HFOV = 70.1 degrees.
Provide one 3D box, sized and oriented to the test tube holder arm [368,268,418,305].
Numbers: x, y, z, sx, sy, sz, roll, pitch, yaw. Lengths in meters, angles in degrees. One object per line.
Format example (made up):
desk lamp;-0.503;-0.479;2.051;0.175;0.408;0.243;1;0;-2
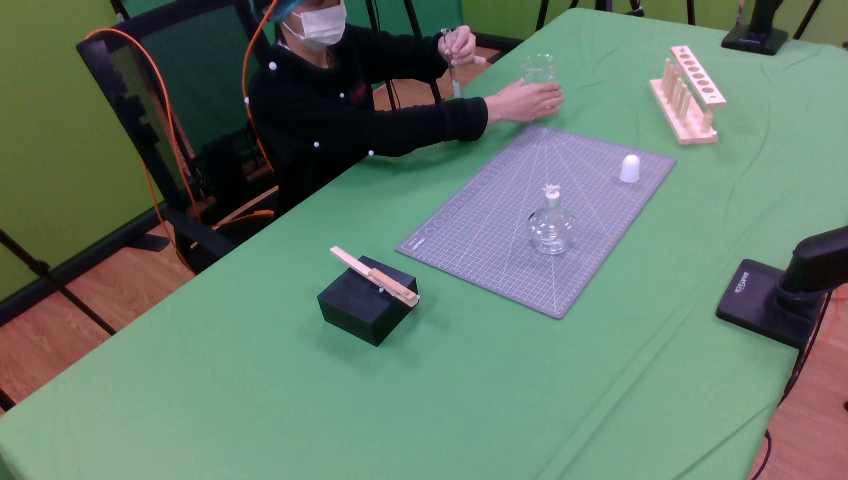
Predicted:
test tube holder arm;-0.043;0.063;0.827;0.087;0.010;0.015;29;53;36

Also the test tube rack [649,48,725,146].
test tube rack;0.508;-0.285;1.186;0.067;0.085;0.241;-4;40;6

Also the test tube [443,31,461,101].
test tube;0.054;-0.328;1.151;0.017;0.151;0.017;-7;49;8

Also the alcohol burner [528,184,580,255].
alcohol burner;0.196;-0.036;0.911;0.078;0.119;0.077;-6;41;5

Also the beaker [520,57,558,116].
beaker;0.240;-0.314;1.240;0.073;0.101;0.084;26;51;37

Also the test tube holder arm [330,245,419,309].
test tube holder arm;-0.074;0.049;0.857;0.177;0.013;0.015;30;54;36

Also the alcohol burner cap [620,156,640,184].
alcohol burner cap;0.358;-0.124;1.047;0.034;0.048;0.033;-4;40;4
